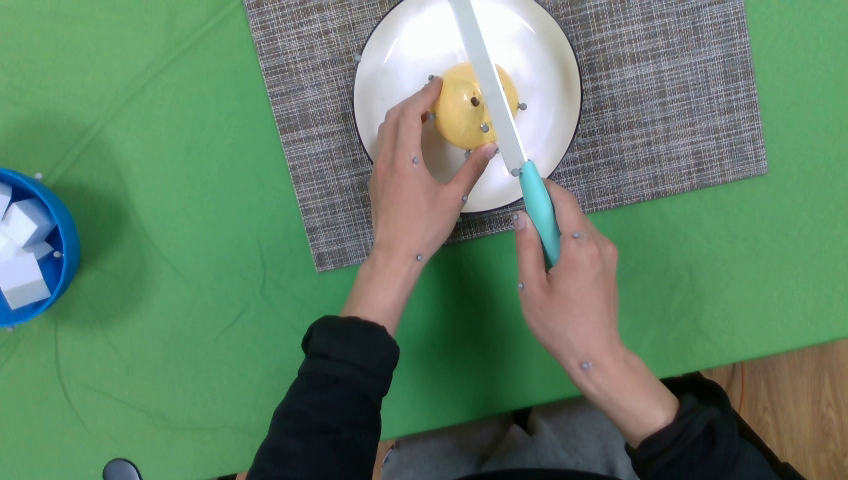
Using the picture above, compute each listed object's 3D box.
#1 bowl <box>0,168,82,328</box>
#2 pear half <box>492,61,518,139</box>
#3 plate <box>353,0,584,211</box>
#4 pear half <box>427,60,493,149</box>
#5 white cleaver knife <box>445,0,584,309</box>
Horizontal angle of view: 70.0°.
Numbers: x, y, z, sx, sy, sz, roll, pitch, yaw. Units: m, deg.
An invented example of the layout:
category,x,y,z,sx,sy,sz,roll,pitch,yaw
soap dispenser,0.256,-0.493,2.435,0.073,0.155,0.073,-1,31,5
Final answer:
category,x,y,z,sx,sy,sz,roll,pitch,yaw
bowl,-0.393,0.002,0.583,0.151,0.076,0.152,0,100,3
pear half,0.065,-0.125,0.524,0.031,0.088,0.070,-17,95,6
plate,0.040,-0.132,0.560,0.207,0.039,0.208,0,100,2
pear half,0.030,-0.115,0.518,0.056,0.110,0.076,-18,93,6
white cleaver knife,0.067,-0.074,0.464,0.021,0.065,0.288,-23,106,-3
